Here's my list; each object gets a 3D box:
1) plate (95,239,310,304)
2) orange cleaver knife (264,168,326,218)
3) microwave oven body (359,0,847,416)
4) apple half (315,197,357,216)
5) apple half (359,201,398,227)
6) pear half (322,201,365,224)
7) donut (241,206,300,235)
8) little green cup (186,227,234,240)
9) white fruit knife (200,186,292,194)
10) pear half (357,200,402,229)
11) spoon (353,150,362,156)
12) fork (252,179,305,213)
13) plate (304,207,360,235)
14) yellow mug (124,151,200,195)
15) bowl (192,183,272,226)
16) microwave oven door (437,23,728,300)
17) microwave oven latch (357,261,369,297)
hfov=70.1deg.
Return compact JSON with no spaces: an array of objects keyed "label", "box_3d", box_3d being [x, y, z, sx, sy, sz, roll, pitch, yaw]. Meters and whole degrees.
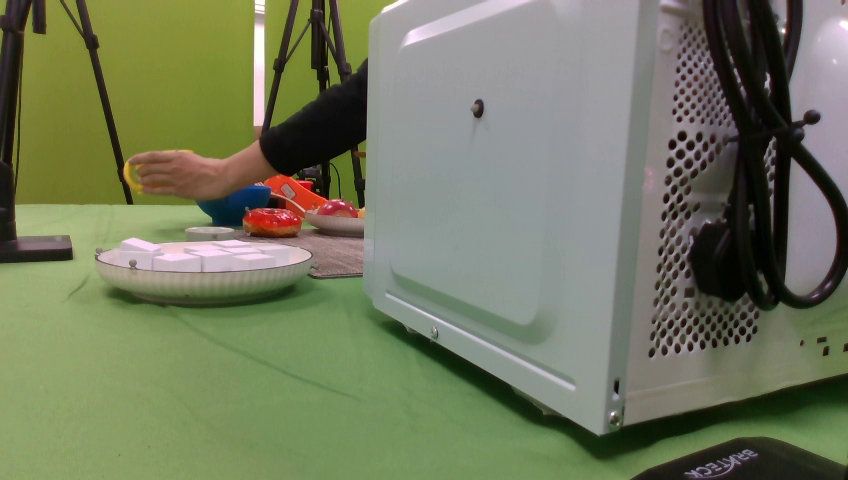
[{"label":"plate","box_3d":[-0.224,0.031,0.629,0.208,0.039,0.207,3,8,0]},{"label":"orange cleaver knife","box_3d":[-0.263,-0.088,1.353,0.211,0.077,0.012,28,13,0]},{"label":"microwave oven body","box_3d":[0.211,-0.047,0.474,0.444,0.260,0.324,-1,7,-28]},{"label":"apple half","box_3d":[-0.162,-0.052,1.121,0.081,0.053,0.074,5,8,-14]},{"label":"apple half","box_3d":[-0.088,-0.058,1.190,0.081,0.033,0.081,10,29,-5]},{"label":"pear half","box_3d":[-0.157,-0.059,1.197,0.088,0.031,0.070,12,30,-4]},{"label":"donut","box_3d":[-0.263,-0.032,1.039,0.099,0.048,0.099,3,10,0]},{"label":"little green cup","box_3d":[-0.285,0.005,0.805,0.061,0.038,0.061,2,8,0]},{"label":"white fruit knife","box_3d":[-0.399,-0.111,1.368,0.208,0.016,0.027,-4,-19,-30]},{"label":"pear half","box_3d":[-0.075,-0.046,1.132,0.076,0.056,0.110,13,6,31]},{"label":"spoon","box_3d":[-0.096,-0.224,1.417,0.041,0.021,0.194,-1,21,37]},{"label":"fork","box_3d":[-0.295,-0.083,1.292,0.206,0.018,0.028,29,11,25]},{"label":"plate","box_3d":[-0.123,-0.037,1.149,0.209,0.038,0.209,2,7,0]},{"label":"yellow mug","box_3d":[-0.460,-0.115,1.049,0.099,0.064,0.131,-4,7,29]},{"label":"bowl","box_3d":[-0.381,-0.071,1.202,0.151,0.077,0.151,3,7,0]},{"label":"microwave oven door","box_3d":[0.181,-0.073,0.621,0.358,0.243,0.039,-2,8,-29]},{"label":"microwave oven latch","box_3d":[-0.019,0.033,0.530,0.079,0.029,0.030,-1,7,-26]}]
